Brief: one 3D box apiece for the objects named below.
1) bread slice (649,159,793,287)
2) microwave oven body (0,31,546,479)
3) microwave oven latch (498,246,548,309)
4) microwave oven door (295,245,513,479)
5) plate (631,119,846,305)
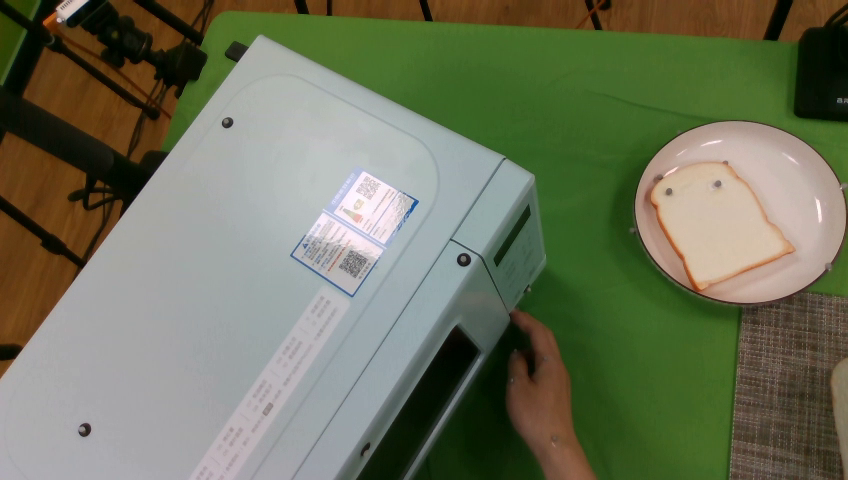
[{"bbox_3d":[0.306,-0.024,0.652,0.107,0.018,0.133,-26,67,1],"label":"bread slice"},{"bbox_3d":[-0.133,0.084,0.600,0.324,0.262,0.441,30,82,20],"label":"microwave oven body"},{"bbox_3d":[0.104,0.036,0.663,0.030,0.030,0.079,36,84,21],"label":"microwave oven latch"},{"bbox_3d":[-0.040,0.186,0.539,0.039,0.246,0.355,30,81,22],"label":"microwave oven door"},{"bbox_3d":[0.329,-0.029,0.650,0.207,0.039,0.206,-4,71,12],"label":"plate"}]
